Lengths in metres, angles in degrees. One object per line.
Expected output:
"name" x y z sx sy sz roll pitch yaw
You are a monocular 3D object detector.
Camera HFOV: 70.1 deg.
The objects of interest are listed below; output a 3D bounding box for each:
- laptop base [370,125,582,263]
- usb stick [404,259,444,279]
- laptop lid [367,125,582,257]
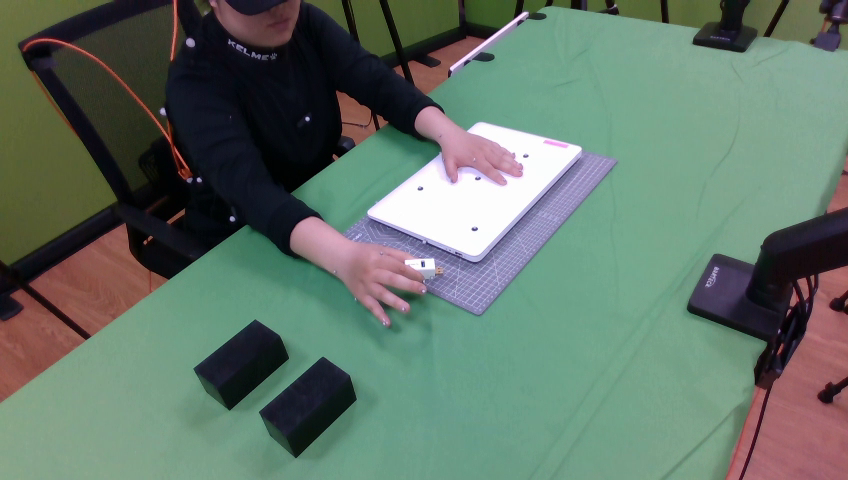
"laptop base" 0.098 -0.096 1.072 0.233 0.023 0.355 20 47 33
"usb stick" 0.001 0.042 0.880 0.059 0.027 0.021 2 49 -9
"laptop lid" 0.095 -0.104 1.067 0.239 0.013 0.358 22 48 34
